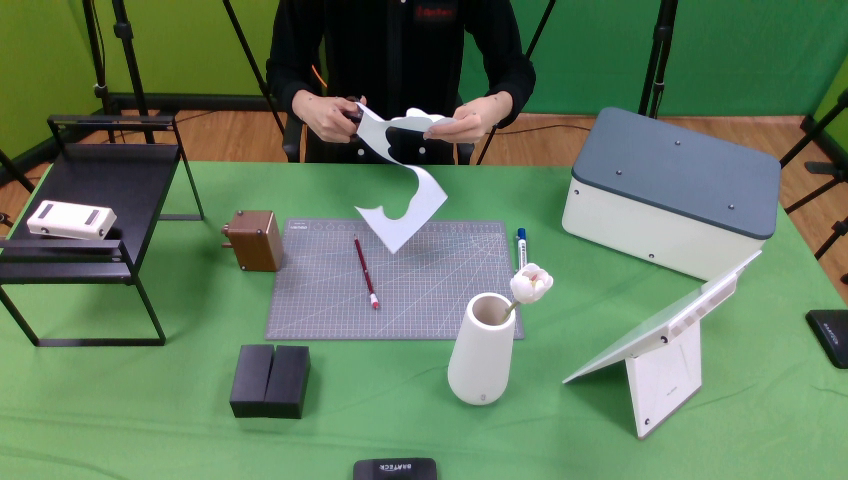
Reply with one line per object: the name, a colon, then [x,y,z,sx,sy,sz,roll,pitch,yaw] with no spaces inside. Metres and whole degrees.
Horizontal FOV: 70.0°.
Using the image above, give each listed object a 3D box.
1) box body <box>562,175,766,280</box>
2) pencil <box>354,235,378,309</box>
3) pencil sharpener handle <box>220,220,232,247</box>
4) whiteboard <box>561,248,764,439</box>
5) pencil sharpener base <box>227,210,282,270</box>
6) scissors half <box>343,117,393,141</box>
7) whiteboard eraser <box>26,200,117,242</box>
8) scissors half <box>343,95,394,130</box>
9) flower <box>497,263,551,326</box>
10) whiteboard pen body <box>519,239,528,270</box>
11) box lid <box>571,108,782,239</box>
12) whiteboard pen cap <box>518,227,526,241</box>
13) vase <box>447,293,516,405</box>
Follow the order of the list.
box body: [0.486,-0.088,1.222,0.363,0.161,0.253,20,48,15]
pencil: [-0.113,0.055,1.143,0.012,0.012,0.192,-10,46,-13]
pencil sharpener handle: [-0.362,-0.009,1.105,0.030,0.068,0.036,1,52,1]
whiteboard: [0.386,0.176,0.905,0.217,0.306,0.143,-26,72,-27]
pencil sharpener base: [-0.311,0.001,1.112,0.077,0.107,0.061,1,47,1]
scissors half: [-0.098,-0.195,1.050,0.013,0.040,0.174,-8,8,-32]
whiteboard eraser: [-0.532,-0.026,0.919,0.113,0.042,0.055,7,45,3]
scissors half: [-0.098,-0.216,1.044,0.013,0.040,0.174,-14,33,-31]
flower: [0.102,0.121,0.852,0.044,0.363,0.038,-2,64,-10]
whiteboard pen body: [0.193,0.035,1.181,0.017,0.017,0.140,6,48,1]
box lid: [0.491,-0.139,1.168,0.370,0.015,0.262,20,49,15]
whiteboard pen cap: [0.197,-0.009,1.220,0.018,0.018,0.033,5,51,1]
vase: [0.091,0.169,0.921,0.098,0.201,0.097,3,47,-3]
